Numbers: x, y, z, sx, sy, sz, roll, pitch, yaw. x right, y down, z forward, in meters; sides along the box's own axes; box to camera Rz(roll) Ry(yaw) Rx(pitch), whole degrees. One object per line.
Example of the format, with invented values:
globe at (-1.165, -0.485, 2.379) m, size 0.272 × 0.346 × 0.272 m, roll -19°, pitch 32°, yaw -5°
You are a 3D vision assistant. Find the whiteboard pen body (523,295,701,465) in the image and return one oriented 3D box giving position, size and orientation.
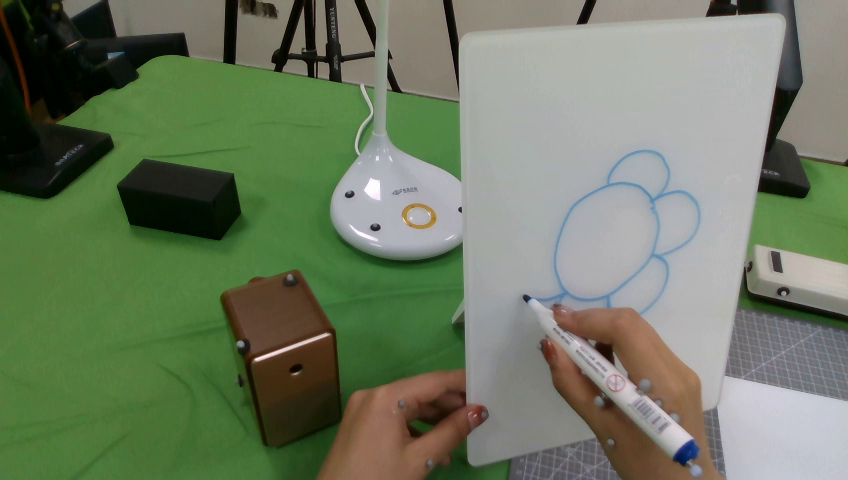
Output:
whiteboard pen body at (0.101, 0.073, 0.353) m, size 0.017 × 0.017 × 0.139 m, roll -19°, pitch 42°, yaw -24°

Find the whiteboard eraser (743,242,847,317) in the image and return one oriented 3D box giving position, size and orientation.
whiteboard eraser at (0.372, 0.041, 0.590) m, size 0.112 × 0.042 × 0.055 m, roll 13°, pitch 40°, yaw 11°

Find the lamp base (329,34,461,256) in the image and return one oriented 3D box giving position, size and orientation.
lamp base at (-0.026, -0.103, 0.616) m, size 0.161 × 0.182 × 0.177 m, roll -22°, pitch 45°, yaw -27°

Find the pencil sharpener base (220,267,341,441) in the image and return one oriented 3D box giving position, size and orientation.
pencil sharpener base at (-0.105, 0.084, 0.450) m, size 0.061 × 0.108 × 0.076 m, roll -18°, pitch 45°, yaw -23°

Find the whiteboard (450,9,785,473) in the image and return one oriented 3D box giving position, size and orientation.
whiteboard at (0.113, -0.011, 0.469) m, size 0.218 × 0.307 × 0.142 m, roll -8°, pitch 23°, yaw -12°

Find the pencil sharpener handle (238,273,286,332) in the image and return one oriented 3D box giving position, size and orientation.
pencil sharpener handle at (-0.127, 0.044, 0.476) m, size 0.036 × 0.068 × 0.030 m, roll -25°, pitch 47°, yaw -17°
